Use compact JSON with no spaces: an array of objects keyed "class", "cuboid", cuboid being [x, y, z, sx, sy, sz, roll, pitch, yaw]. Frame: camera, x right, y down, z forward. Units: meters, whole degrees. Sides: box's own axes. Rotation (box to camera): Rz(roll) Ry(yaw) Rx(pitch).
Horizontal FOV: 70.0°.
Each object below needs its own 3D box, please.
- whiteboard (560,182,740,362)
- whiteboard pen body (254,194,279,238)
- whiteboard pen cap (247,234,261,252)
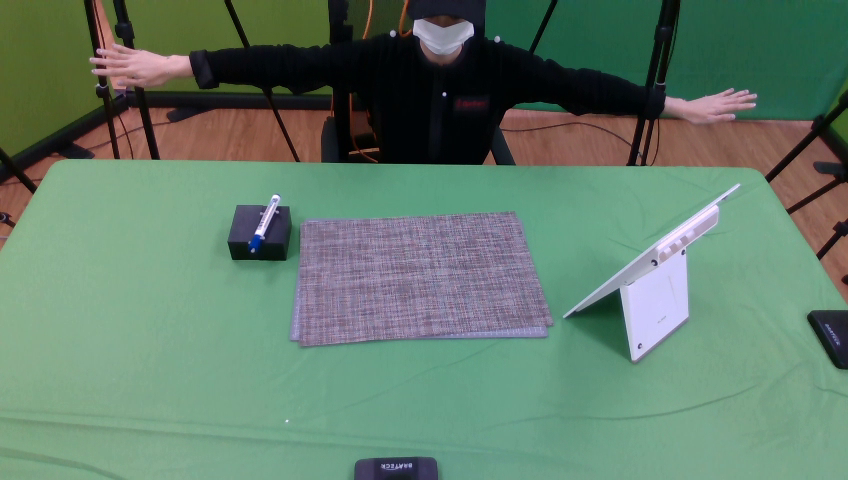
[{"class":"whiteboard","cuboid":[0.406,0.075,1.001,0.217,0.306,0.143,-28,73,-28]},{"class":"whiteboard pen body","cuboid":[-0.300,-0.038,1.145,0.017,0.017,0.140,8,46,3]},{"class":"whiteboard pen cap","cuboid":[-0.308,0.005,1.103,0.018,0.018,0.033,8,45,3]}]
